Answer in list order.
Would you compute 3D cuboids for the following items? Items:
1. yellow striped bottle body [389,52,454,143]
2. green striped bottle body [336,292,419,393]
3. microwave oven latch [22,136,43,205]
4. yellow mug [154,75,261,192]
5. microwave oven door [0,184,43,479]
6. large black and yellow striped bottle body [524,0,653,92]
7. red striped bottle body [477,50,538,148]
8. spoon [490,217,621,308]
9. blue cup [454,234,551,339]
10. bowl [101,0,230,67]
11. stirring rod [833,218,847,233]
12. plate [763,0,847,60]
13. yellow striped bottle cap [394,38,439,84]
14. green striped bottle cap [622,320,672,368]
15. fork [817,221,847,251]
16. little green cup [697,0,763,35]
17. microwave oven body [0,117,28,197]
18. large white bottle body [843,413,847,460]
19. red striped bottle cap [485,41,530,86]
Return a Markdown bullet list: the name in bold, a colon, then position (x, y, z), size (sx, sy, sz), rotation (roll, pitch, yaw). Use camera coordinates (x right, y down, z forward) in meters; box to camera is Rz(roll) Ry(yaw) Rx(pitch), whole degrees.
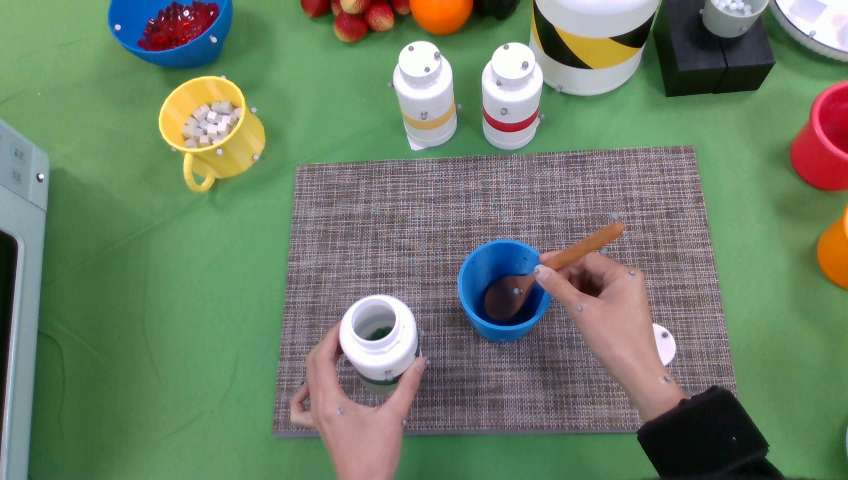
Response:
- **yellow striped bottle body**: position (-0.002, -0.162, 0.660), size (0.063, 0.121, 0.062), rotation (-2, 69, 6)
- **green striped bottle body**: position (-0.038, 0.086, 0.515), size (0.063, 0.120, 0.062), rotation (-1, 63, 2)
- **microwave oven latch**: position (-0.461, -0.078, 0.698), size (0.030, 0.030, 0.078), rotation (-9, 69, 2)
- **yellow mug**: position (-0.251, -0.117, 0.697), size (0.100, 0.064, 0.130), rotation (7, 70, 8)
- **microwave oven door**: position (-0.436, 0.086, 0.524), size (0.039, 0.245, 0.353), rotation (-11, 68, 2)
- **large black and yellow striped bottle body**: position (0.177, -0.261, 0.646), size (0.130, 0.185, 0.130), rotation (-2, 69, 5)
- **red striped bottle body**: position (0.091, -0.155, 0.649), size (0.063, 0.120, 0.062), rotation (-4, 66, 9)
- **spoon**: position (0.104, 0.025, 0.531), size (0.022, 0.194, 0.041), rotation (4, 66, -22)
- **blue cup**: position (0.072, 0.053, 0.576), size (0.092, 0.101, 0.092), rotation (-1, 67, 4)
- **bowl**: position (-0.306, -0.271, 0.756), size (0.151, 0.077, 0.150), rotation (-2, 69, 4)
- **stirring rod**: position (0.419, 0.017, 0.541), size (0.014, 0.006, 0.175), rotation (-1, 26, 4)
- **plate**: position (0.496, -0.291, 0.704), size (0.209, 0.038, 0.207), rotation (-2, 69, 5)
- **yellow striped bottle cap**: position (-0.008, -0.181, 0.613), size (0.044, 0.019, 0.044), rotation (-1, 70, 4)
- **green striped bottle cap**: position (0.217, 0.101, 0.590), size (0.044, 0.020, 0.044), rotation (-2, 65, 5)
- **fork**: position (0.449, 0.017, 0.530), size (0.028, 0.019, 0.205), rotation (-40, 26, -8)
- **little green cup**: position (0.327, -0.255, 0.653), size (0.061, 0.039, 0.061), rotation (-1, 67, 4)
- **microwave oven body**: position (-0.585, 0.077, 0.548), size (0.326, 0.262, 0.438), rotation (-11, 69, 1)
- **large white bottle body**: position (0.432, 0.157, 0.459), size (0.130, 0.186, 0.129), rotation (-2, 68, 6)
- **red striped bottle cap**: position (0.084, -0.176, 0.601), size (0.044, 0.018, 0.044), rotation (0, 67, 1)
